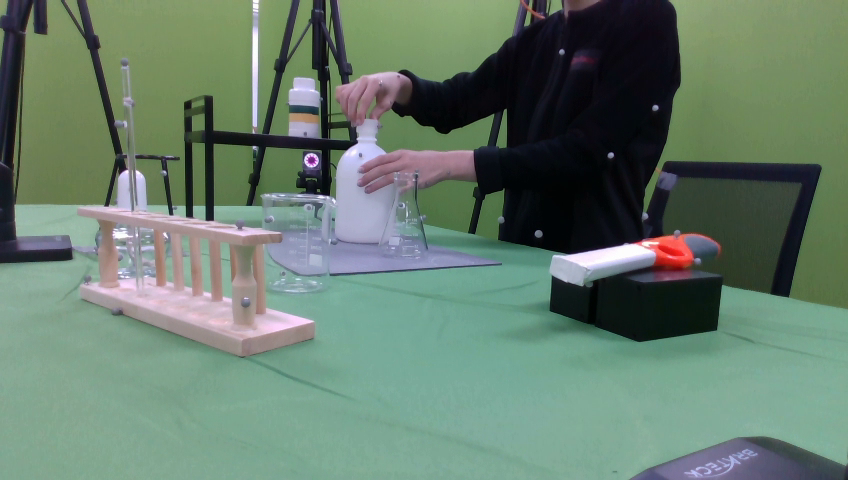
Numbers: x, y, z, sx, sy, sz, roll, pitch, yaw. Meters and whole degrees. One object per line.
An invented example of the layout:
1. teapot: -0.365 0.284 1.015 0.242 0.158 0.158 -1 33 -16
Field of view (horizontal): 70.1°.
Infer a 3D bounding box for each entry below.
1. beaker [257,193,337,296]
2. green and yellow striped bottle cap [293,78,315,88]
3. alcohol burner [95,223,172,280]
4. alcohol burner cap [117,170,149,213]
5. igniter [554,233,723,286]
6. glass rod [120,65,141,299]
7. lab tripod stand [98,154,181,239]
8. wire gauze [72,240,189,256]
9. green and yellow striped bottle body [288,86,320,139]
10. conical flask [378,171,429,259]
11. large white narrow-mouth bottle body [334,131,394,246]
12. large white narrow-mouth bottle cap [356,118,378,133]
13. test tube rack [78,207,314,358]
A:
1. beaker: -0.130 0.003 0.628 0.084 0.100 0.074 5 8 15
2. green and yellow striped bottle cap: -0.248 -0.323 1.256 0.045 0.020 0.045 4 8 0
3. alcohol burner: -0.320 -0.016 0.667 0.078 0.119 0.078 0 7 0
4. alcohol burner cap: -0.320 -0.052 0.661 0.034 0.048 0.034 -3 0 0
5. igniter: 0.214 0.015 0.570 0.278 0.025 0.057 -5 22 -44
6. glass rod: -0.249 -0.047 0.513 0.008 0.199 0.008 -1 4 0
7. lab tripod stand: -0.427 -0.066 0.942 0.148 0.131 0.148 1 6 0
8. wire gauze: -0.399 0.013 0.820 0.126 0.011 0.121 -3 8 -37
9. green and yellow striped bottle body: -0.250 -0.272 1.261 0.063 0.119 0.063 3 7 0
10. conical flask: -0.027 -0.037 0.869 0.075 0.122 0.075 3 7 0
11. large white narrow-mouth bottle body: -0.099 -0.093 1.018 0.102 0.194 0.101 3 9 0
12. large white narrow-mouth bottle cap: -0.094 -0.189 1.001 0.038 0.024 0.037 3 9 0
13. test tube rack: -0.196 0.024 0.499 0.241 0.085 0.067 8 8 37
